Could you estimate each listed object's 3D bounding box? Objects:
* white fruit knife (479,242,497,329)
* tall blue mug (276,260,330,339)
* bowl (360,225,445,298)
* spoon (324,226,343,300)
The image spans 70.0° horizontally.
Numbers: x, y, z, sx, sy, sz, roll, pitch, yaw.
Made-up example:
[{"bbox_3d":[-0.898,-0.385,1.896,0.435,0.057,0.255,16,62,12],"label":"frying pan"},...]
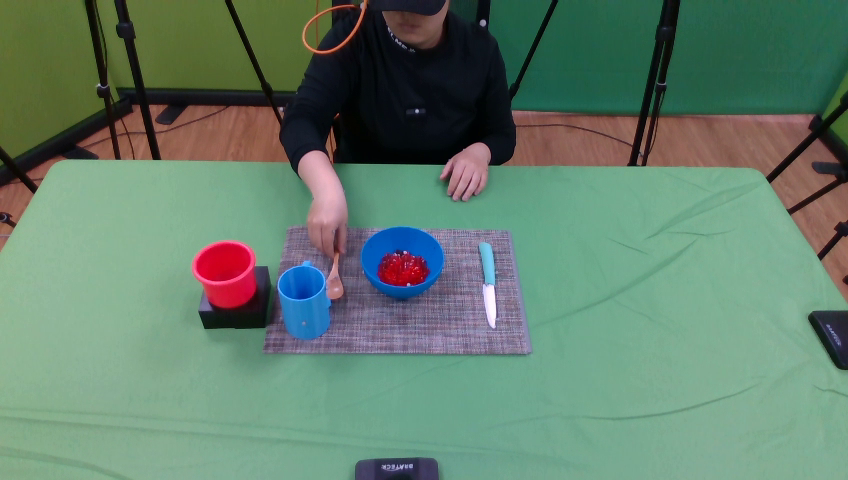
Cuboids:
[{"bbox_3d":[0.122,0.080,1.130,0.027,0.016,0.206,-19,45,19],"label":"white fruit knife"},{"bbox_3d":[-0.208,0.094,1.025,0.078,0.108,0.106,-21,51,-21],"label":"tall blue mug"},{"bbox_3d":[-0.040,0.053,1.099,0.151,0.077,0.150,2,46,-2],"label":"bowl"},{"bbox_3d":[-0.166,0.039,1.139,0.041,0.022,0.192,3,48,-2],"label":"spoon"}]
